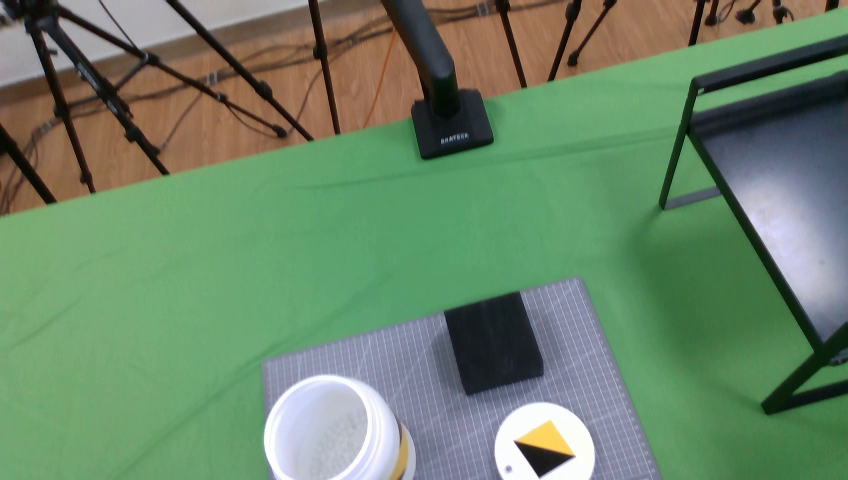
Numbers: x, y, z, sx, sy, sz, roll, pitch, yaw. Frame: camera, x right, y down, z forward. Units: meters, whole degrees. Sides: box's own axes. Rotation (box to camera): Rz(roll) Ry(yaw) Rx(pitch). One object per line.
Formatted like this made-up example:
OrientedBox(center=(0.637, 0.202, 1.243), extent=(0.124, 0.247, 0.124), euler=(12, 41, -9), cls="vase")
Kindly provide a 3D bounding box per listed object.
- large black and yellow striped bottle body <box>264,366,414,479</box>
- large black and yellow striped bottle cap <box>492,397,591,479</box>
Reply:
OrientedBox(center=(-0.089, 0.219, 0.662), extent=(0.130, 0.186, 0.129), euler=(-4, 60, 8), cls="large black and yellow striped bottle body")
OrientedBox(center=(0.136, 0.241, 0.707), extent=(0.115, 0.019, 0.114), euler=(-4, 59, 7), cls="large black and yellow striped bottle cap")
